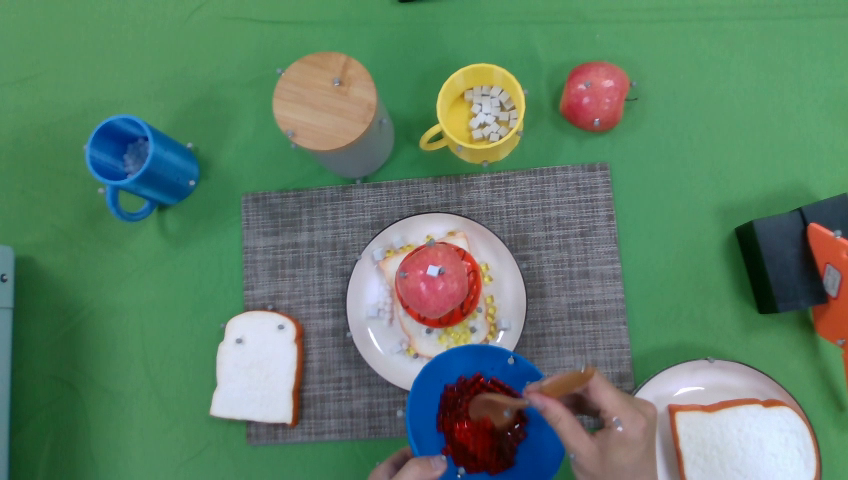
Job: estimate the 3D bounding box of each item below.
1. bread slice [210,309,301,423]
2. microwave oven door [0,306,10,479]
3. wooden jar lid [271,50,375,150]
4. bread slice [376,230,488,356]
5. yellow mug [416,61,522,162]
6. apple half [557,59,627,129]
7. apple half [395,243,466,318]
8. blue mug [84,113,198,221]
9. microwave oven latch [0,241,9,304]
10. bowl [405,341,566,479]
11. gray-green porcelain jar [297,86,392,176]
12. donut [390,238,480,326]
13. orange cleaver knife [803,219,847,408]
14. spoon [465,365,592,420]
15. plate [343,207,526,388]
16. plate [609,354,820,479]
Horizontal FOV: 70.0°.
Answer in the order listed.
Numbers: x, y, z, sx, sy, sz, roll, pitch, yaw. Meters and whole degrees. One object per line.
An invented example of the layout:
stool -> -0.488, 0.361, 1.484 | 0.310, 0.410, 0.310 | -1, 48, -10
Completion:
bread slice -> -0.199, 0.147, 0.718 | 0.105, 0.019, 0.131 | 3, 84, 6
microwave oven door -> -0.532, 0.241, 0.613 | 0.039, 0.245, 0.354 | -5, 82, 6
wooden jar lid -> -0.103, -0.143, 0.629 | 0.108, 0.021, 0.108 | -1, 80, 4
bread slice -> 0.017, 0.065, 0.696 | 0.107, 0.018, 0.133 | -22, 80, 4
yellow mug -> 0.050, -0.141, 0.707 | 0.131, 0.064, 0.099 | -27, 80, 3
apple half -> 0.196, -0.175, 0.702 | 0.074, 0.053, 0.080 | 18, 85, 11
apple half -> 0.005, 0.041, 0.633 | 0.081, 0.033, 0.081 | -2, 80, 13
blue mug -> -0.339, -0.078, 0.722 | 0.082, 0.106, 0.116 | 16, 84, 8
microwave oven latch -> -0.532, 0.039, 0.743 | 0.030, 0.029, 0.079 | -1, 83, 6
bowl -> 0.051, 0.181, 0.579 | 0.152, 0.077, 0.150 | 6, 53, -7
gray-green porcelain jar -> -0.095, -0.134, 0.692 | 0.106, 0.127, 0.105 | -1, 82, 6
donut -> 0.012, 0.047, 0.669 | 0.099, 0.048, 0.099 | -1, 83, 7
orange cleaver knife -> 0.425, 0.082, 0.627 | 0.012, 0.077, 0.212 | -16, 102, -3
spoon -> 0.086, 0.133, 0.518 | 0.042, 0.194, 0.021 | 32, 62, -7
plate -> 0.012, 0.067, 0.694 | 0.207, 0.039, 0.207 | -1, 83, 6
plate -> 0.302, 0.225, 0.644 | 0.209, 0.038, 0.208 | -1, 82, 7
